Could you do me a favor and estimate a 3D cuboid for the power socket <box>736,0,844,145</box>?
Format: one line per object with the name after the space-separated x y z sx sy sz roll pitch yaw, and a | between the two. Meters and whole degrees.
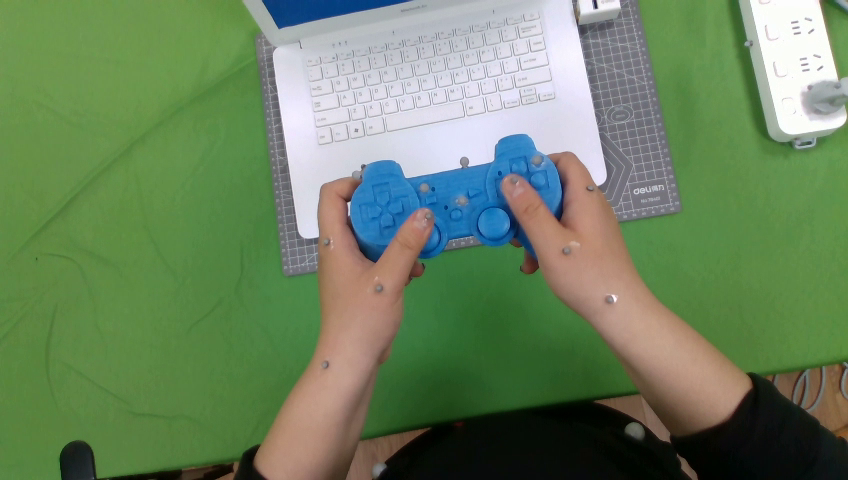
0.391 -0.217 0.655 0.072 0.033 0.226 -9 82 6 | power socket

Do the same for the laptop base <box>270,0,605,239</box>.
0.008 -0.146 0.695 0.354 0.023 0.235 -11 85 5 | laptop base

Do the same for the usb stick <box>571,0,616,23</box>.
0.182 -0.260 0.678 0.059 0.027 0.021 -10 82 9 | usb stick

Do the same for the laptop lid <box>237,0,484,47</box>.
-0.029 -0.294 0.598 0.356 0.243 0.013 -11 73 6 | laptop lid

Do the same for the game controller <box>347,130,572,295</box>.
0.022 -0.018 0.421 0.155 0.051 0.097 -10 92 4 | game controller

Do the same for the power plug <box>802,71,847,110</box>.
0.429 -0.151 0.623 0.072 0.053 0.035 3 82 3 | power plug
